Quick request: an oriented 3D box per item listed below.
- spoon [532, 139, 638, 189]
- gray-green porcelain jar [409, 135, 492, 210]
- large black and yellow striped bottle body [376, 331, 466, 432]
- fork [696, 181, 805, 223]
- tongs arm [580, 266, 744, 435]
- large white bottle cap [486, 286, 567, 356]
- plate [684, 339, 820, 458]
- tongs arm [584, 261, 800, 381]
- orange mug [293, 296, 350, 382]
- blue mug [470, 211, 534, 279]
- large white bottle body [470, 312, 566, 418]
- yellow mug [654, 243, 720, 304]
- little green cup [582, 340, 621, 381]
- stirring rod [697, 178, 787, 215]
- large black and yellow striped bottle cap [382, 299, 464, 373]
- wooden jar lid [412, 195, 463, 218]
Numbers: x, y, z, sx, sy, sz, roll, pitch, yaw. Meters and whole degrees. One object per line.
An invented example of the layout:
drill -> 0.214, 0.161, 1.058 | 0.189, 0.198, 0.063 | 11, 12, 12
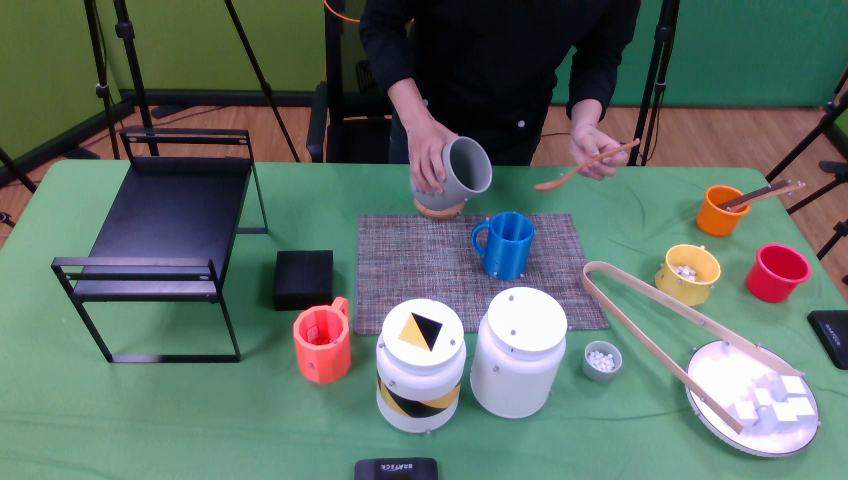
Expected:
spoon -> 0.274, -0.130, 1.045 | 0.021, 0.194, 0.041 | 61, 29, -3
gray-green porcelain jar -> 0.043, -0.116, 1.098 | 0.106, 0.126, 0.105 | 15, 66, -36
large black and yellow striped bottle body -> -0.007, 0.189, 0.905 | 0.131, 0.185, 0.130 | 2, 46, -2
fork -> 0.659, -0.077, 1.232 | 0.207, 0.019, 0.028 | -26, 35, 34
tongs arm -> 0.384, 0.173, 1.028 | 0.028, 0.028, 0.385 | -25, 46, -15
large white bottle cap -> 0.147, 0.114, 0.869 | 0.115, 0.018, 0.114 | 3, 46, -3
plate -> 0.523, 0.256, 0.982 | 0.208, 0.039, 0.206 | 2, 46, -2
tongs arm -> 0.452, 0.137, 1.064 | 0.051, 0.027, 0.382 | -34, 50, -27
orange mug -> -0.158, 0.154, 0.985 | 0.083, 0.101, 0.125 | 17, 52, 11
blue mug -> 0.141, 0.005, 1.140 | 0.116, 0.106, 0.082 | 18, 48, 13
large white bottle body -> 0.143, 0.173, 0.930 | 0.131, 0.185, 0.130 | 2, 46, -2
yellow mug -> 0.504, 0.054, 1.154 | 0.099, 0.064, 0.130 | 28, 50, 22
little green cup -> 0.295, 0.204, 1.014 | 0.061, 0.039, 0.061 | 2, 45, -2
stirring rod -> 0.650, -0.088, 1.246 | 0.006, 0.176, 0.014 | 29, 50, -39
large black and yellow striped bottle cap -> -0.002, 0.132, 0.843 | 0.115, 0.019, 0.114 | 2, 46, -2
wooden jar lid -> 0.029, -0.083, 1.276 | 0.108, 0.021, 0.107 | 4, 43, -3
